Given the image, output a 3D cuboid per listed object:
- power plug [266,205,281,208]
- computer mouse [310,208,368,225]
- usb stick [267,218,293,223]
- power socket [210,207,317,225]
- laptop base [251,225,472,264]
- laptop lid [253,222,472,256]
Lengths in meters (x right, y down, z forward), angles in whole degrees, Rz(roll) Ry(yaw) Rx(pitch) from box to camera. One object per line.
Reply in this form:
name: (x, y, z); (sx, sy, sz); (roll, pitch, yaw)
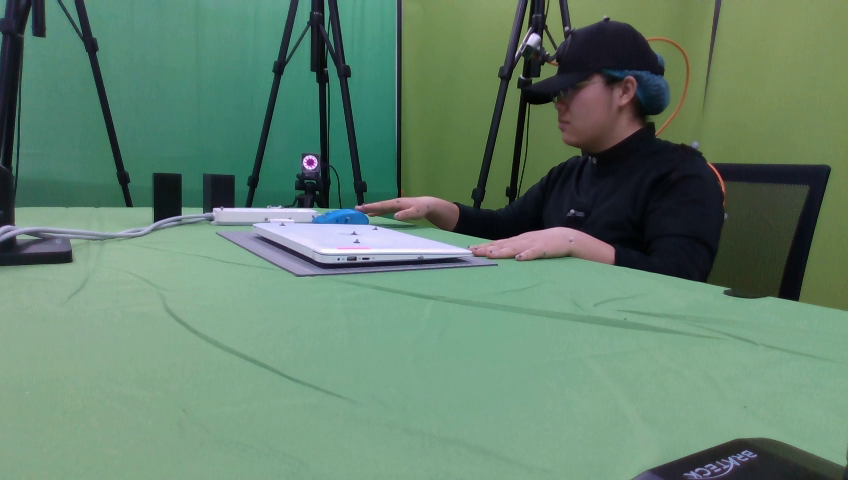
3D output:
power plug: (-0.343, -0.056, 1.364); (0.053, 0.035, 0.072); (-22, -10, -15)
computer mouse: (-0.179, -0.045, 1.275); (0.118, 0.041, 0.062); (-6, 13, -29)
usb stick: (-0.272, -0.026, 1.107); (0.059, 0.027, 0.021); (-4, 12, -28)
power socket: (-0.335, -0.051, 1.282); (0.228, 0.032, 0.072); (-1, 9, -28)
laptop base: (-0.116, 0.007, 0.955); (0.237, 0.023, 0.352); (2, 6, -31)
laptop lid: (-0.113, -0.005, 0.955); (0.243, 0.013, 0.355); (1, 7, -29)
